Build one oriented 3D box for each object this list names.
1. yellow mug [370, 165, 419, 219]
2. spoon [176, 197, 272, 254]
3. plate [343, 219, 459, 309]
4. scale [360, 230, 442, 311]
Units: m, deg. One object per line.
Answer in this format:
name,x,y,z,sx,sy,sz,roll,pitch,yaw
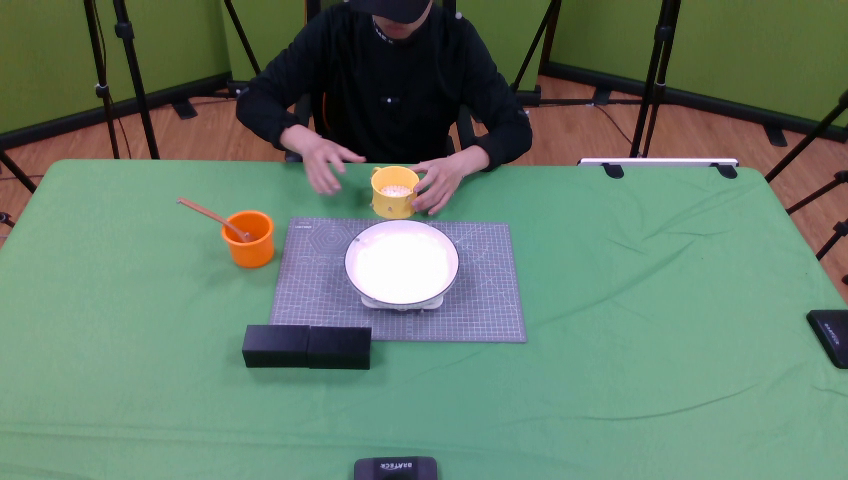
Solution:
yellow mug,-0.071,-0.108,1.267,0.100,0.064,0.130,-30,54,-27
spoon,-0.362,-0.027,1.108,0.021,0.195,0.041,-35,36,24
plate,-0.041,0.046,1.094,0.209,0.038,0.208,2,46,-2
scale,-0.042,0.047,1.138,0.149,0.032,0.199,2,46,-3
